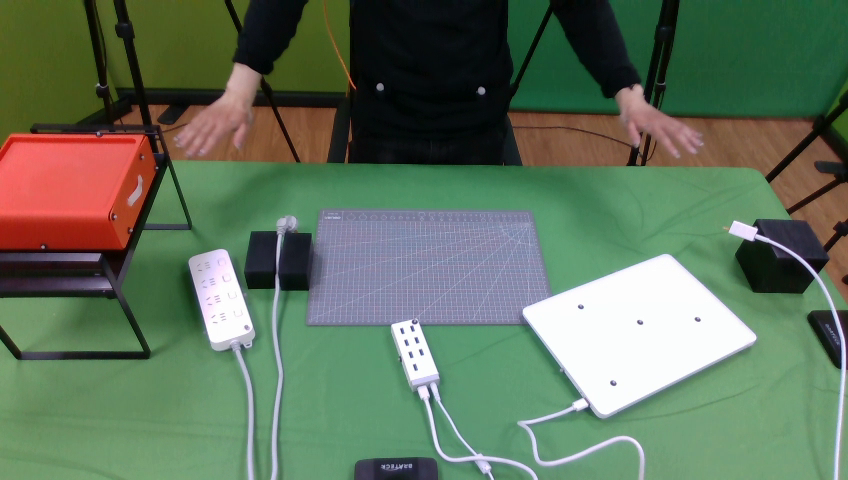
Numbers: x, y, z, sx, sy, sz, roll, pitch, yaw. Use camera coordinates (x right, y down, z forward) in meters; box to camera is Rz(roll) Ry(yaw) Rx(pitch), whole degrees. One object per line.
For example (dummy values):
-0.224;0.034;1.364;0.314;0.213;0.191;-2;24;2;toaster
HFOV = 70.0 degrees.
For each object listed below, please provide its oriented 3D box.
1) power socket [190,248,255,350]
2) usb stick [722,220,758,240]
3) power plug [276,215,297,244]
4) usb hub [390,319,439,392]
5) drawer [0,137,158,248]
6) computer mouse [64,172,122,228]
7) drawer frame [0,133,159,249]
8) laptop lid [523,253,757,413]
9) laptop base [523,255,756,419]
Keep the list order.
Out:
-0.358;0.100;1.069;0.072;0.033;0.225;-17;51;-18;power socket
0.593;-0.021;1.139;0.059;0.027;0.021;22;12;29;usb stick
-0.267;-0.015;1.157;0.035;0.053;0.072;7;63;26;power plug
-0.016;0.190;1.013;0.049;0.025;0.124;-11;48;-15;usb hub
-0.549;-0.079;0.944;0.212;0.073;0.193;0;47;-3;drawer
-0.521;-0.067;0.955;0.063;0.041;0.116;0;48;-9;computer mouse
-0.553;-0.078;0.942;0.214;0.083;0.200;-1;47;-4;drawer frame
0.380;0.147;1.073;0.357;0.013;0.240;-17;48;-19;laptop lid
0.381;0.157;1.080;0.355;0.023;0.234;-18;48;-20;laptop base
